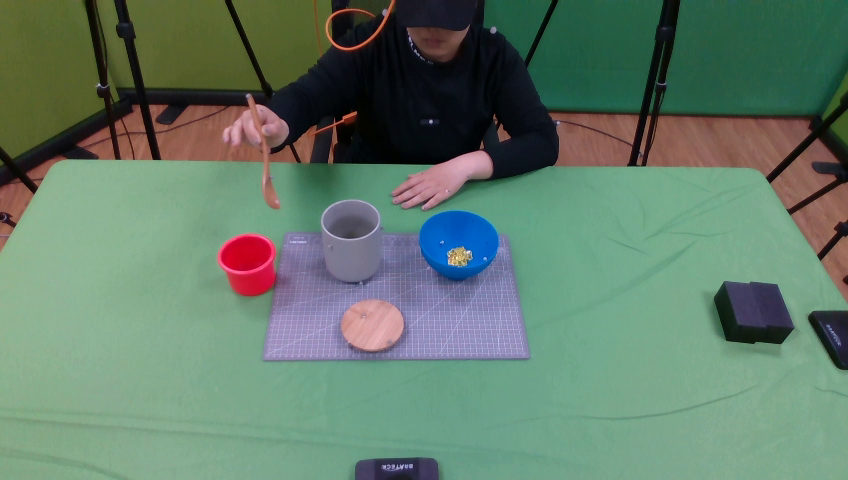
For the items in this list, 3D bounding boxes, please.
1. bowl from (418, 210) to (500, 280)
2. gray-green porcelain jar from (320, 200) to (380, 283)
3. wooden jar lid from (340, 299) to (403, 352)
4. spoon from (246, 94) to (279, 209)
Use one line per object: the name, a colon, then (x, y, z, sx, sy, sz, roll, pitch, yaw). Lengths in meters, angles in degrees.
bowl: (0.062, 0.022, 1.140, 0.151, 0.077, 0.150, 2, 46, -2)
gray-green porcelain jar: (-0.133, 0.007, 1.106, 0.106, 0.127, 0.105, 2, 46, -2)
wooden jar lid: (-0.090, 0.150, 1.046, 0.108, 0.021, 0.107, 3, 47, -3)
spoon: (-0.269, -0.145, 1.009, 0.021, 0.194, 0.041, -1, 18, 12)
